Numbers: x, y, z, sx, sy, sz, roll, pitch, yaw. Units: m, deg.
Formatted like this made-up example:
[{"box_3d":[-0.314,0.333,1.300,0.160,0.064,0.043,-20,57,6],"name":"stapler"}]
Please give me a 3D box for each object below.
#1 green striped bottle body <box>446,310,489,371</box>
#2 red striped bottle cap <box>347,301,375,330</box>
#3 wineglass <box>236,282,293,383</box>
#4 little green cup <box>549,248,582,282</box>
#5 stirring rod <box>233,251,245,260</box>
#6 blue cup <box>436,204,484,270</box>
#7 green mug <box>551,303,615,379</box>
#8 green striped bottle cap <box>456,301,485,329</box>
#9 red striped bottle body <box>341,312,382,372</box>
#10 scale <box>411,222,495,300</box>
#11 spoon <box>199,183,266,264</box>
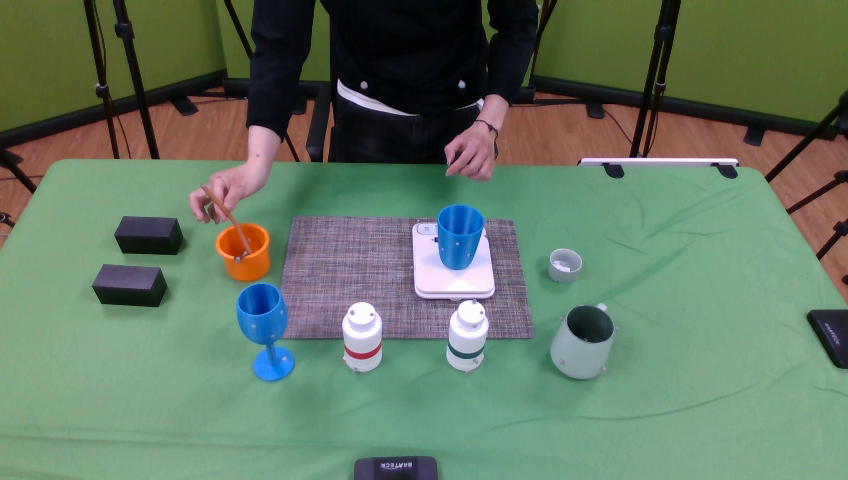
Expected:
[{"box_3d":[0.070,0.155,0.984,0.063,0.120,0.063,2,46,-2],"name":"green striped bottle body"},{"box_3d":[-0.097,0.116,0.934,0.044,0.018,0.044,2,49,-2],"name":"red striped bottle cap"},{"box_3d":[-0.243,0.143,0.934,0.074,0.173,0.073,2,46,-2],"name":"wineglass"},{"box_3d":[0.268,0.050,1.156,0.061,0.039,0.061,1,46,-1],"name":"little green cup"},{"box_3d":[-0.324,0.026,1.067,0.014,0.006,0.176,-8,4,-13],"name":"stirring rod"},{"box_3d":[0.061,-0.001,1.098,0.093,0.101,0.092,2,43,-2],"name":"blue cup"},{"box_3d":[0.271,0.157,1.007,0.092,0.105,0.125,27,50,21],"name":"green mug"},{"box_3d":[0.073,0.116,0.943,0.044,0.020,0.044,3,46,-3],"name":"green striped bottle cap"},{"box_3d":[-0.100,0.154,0.972,0.063,0.120,0.062,2,46,-1],"name":"red striped bottle body"},{"box_3d":[0.052,0.031,1.158,0.149,0.032,0.199,1,46,-4],"name":"scale"},{"box_3d":[-0.337,-0.026,1.075,0.021,0.195,0.041,-33,35,-12],"name":"spoon"}]
